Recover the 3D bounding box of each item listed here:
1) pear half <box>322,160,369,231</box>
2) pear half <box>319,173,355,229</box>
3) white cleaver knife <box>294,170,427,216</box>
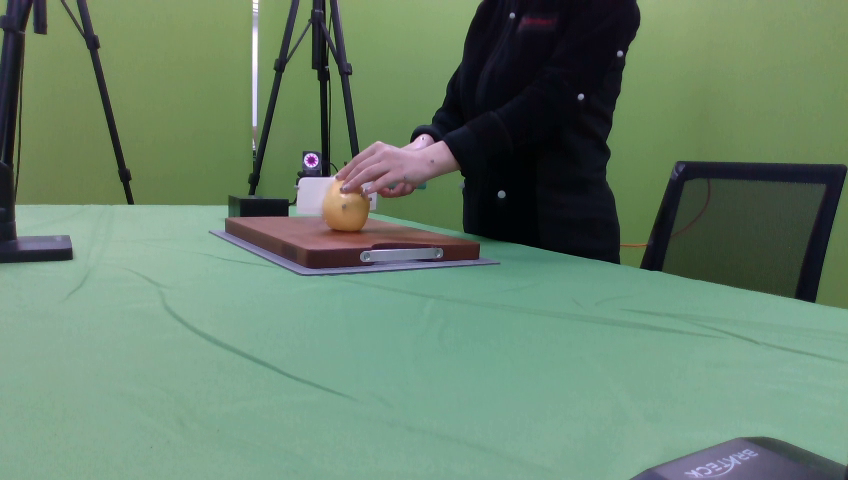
[{"bbox_3d":[-0.114,-0.068,0.936,0.055,0.110,0.077,8,14,33],"label":"pear half"},{"bbox_3d":[-0.144,-0.061,0.960,0.031,0.088,0.071,2,10,35],"label":"pear half"},{"bbox_3d":[-0.098,-0.079,0.993,0.021,0.066,0.288,12,15,42],"label":"white cleaver knife"}]
